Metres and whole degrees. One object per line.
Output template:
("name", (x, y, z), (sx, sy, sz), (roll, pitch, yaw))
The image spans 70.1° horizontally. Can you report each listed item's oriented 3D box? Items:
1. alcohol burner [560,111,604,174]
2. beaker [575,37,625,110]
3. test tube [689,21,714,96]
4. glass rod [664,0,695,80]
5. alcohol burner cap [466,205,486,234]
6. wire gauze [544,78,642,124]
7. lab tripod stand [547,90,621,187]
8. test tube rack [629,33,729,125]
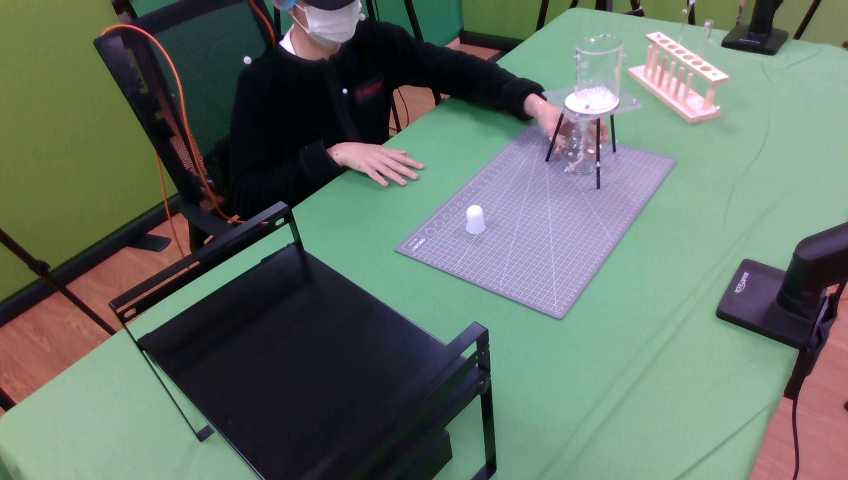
("alcohol burner", (0.280, -0.177, 1.070), (0.078, 0.119, 0.077), (-4, 43, 4))
("beaker", (0.283, -0.271, 0.988), (0.074, 0.101, 0.083), (-10, 39, 1))
("test tube", (0.541, -0.353, 1.184), (0.017, 0.151, 0.017), (-2, 40, 2))
("glass rod", (0.523, -0.415, 1.235), (0.008, 0.200, 0.008), (1, 47, 0))
("alcohol burner cap", (0.085, -0.037, 0.993), (0.034, 0.048, 0.033), (-4, 41, 4))
("wire gauze", (0.282, -0.234, 1.022), (0.125, 0.011, 0.120), (-17, 38, -4))
("lab tripod stand", (0.289, -0.184, 1.062), (0.148, 0.132, 0.147), (-6, 41, 5))
("test tube rack", (0.516, -0.337, 1.247), (0.067, 0.085, 0.240), (-14, 41, -7))
